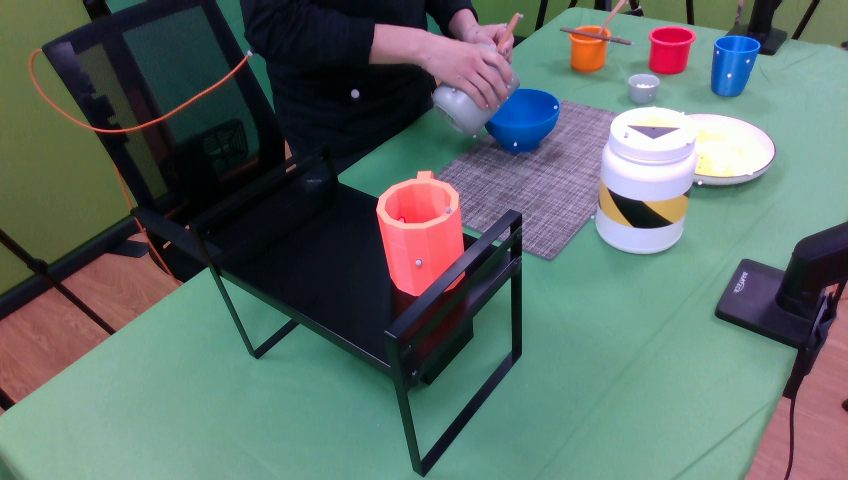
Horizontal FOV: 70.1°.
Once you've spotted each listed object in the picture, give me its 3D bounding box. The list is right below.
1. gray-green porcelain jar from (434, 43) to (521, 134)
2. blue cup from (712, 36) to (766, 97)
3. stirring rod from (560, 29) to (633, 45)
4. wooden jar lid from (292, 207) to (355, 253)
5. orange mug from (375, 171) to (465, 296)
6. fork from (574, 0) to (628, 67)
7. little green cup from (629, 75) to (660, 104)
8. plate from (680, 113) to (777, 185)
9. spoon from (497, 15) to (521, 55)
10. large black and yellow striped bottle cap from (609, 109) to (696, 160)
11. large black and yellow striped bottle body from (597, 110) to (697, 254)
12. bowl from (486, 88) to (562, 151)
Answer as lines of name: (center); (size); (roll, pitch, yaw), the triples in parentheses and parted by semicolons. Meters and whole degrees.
gray-green porcelain jar: (0.088, -0.258, 1.051); (0.126, 0.107, 0.105); (-47, 48, 0)
blue cup: (0.627, -0.350, 1.227); (0.092, 0.100, 0.092); (-4, 39, 4)
stirring rod: (0.381, -0.452, 1.345); (0.174, 0.006, 0.014); (25, 49, 33)
wooden jar lid: (-0.169, -0.015, 1.026); (0.108, 0.021, 0.108); (-4, 40, 4)
orange mug: (0.000, -0.016, 0.661); (0.083, 0.101, 0.125); (-2, 45, 8)
fork: (0.413, -0.481, 1.377); (0.207, 0.019, 0.028); (-56, 43, 12)
little green cup: (0.458, -0.314, 1.260); (0.061, 0.039, 0.061); (-4, 40, 4)
plate: (0.506, -0.158, 1.073); (0.209, 0.038, 0.208); (-5, 40, 4)
spoon: (0.115, -0.311, 1.062); (0.193, 0.022, 0.041); (-55, 40, -2)
large black and yellow striped bottle cap: (0.319, -0.150, 0.849); (0.115, 0.019, 0.114); (-4, 39, 3)
large black and yellow striped bottle body: (0.331, -0.086, 0.904); (0.131, 0.185, 0.130); (-5, 41, 4)
bowl: (0.187, -0.223, 1.161); (0.151, 0.077, 0.150); (-4, 40, 4)
